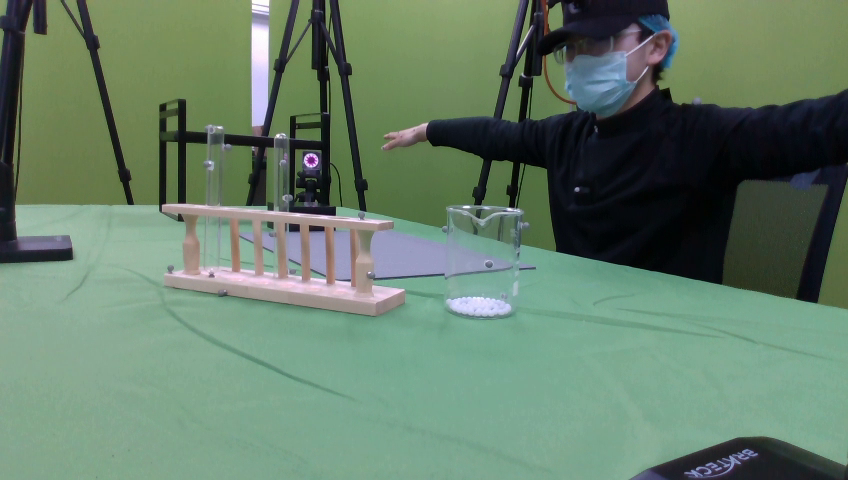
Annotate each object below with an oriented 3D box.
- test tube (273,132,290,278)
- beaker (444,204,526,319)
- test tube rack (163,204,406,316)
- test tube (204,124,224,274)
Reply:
[{"bbox_3d":[-0.146,-0.034,0.617,0.017,0.150,0.017,2,8,0],"label":"test tube"},{"bbox_3d":[0.055,0.019,0.563,0.074,0.100,0.084,3,8,8],"label":"beaker"},{"bbox_3d":[-0.141,0.013,0.601,0.241,0.085,0.067,5,8,21],"label":"test tube rack"},{"bbox_3d":[-0.210,-0.039,0.604,0.017,0.150,0.017,5,11,-1],"label":"test tube"}]
